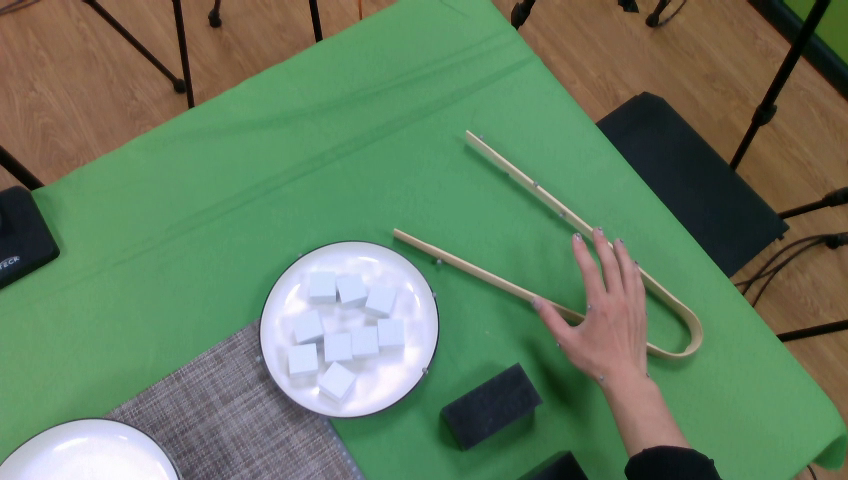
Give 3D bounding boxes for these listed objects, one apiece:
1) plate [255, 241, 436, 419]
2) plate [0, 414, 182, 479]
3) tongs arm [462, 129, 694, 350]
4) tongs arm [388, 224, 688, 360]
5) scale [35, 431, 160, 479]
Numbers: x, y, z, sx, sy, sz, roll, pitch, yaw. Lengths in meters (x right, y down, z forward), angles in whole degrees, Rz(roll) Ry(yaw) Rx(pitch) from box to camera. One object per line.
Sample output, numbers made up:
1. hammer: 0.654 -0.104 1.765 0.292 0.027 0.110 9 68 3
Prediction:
1. plate: -0.089 0.105 0.712 0.208 0.039 0.206 1 70 -2
2. plate: -0.340 0.281 0.602 0.209 0.038 0.207 1 70 -3
3. tongs arm: 0.182 -0.006 0.762 0.383 0.026 0.050 40 74 10
4. tongs arm: 0.131 0.063 0.740 0.387 0.028 0.028 24 68 6
5. scale: -0.329 0.317 0.625 0.148 0.032 0.199 -32 75 -13
